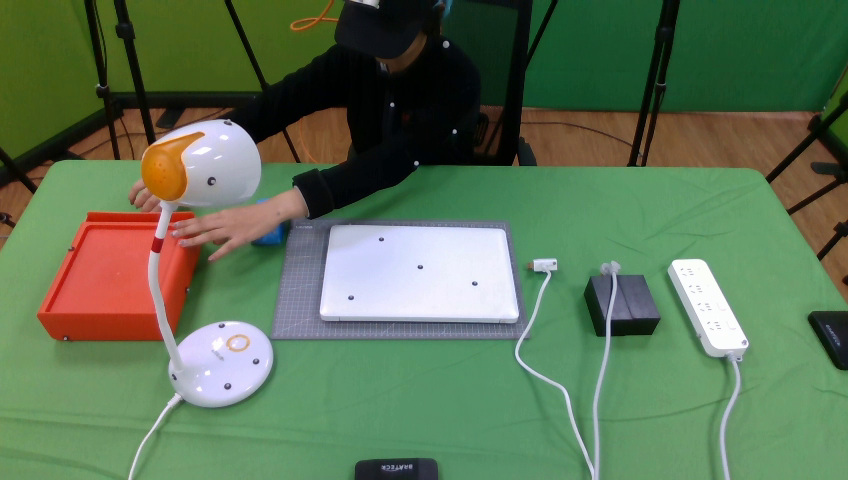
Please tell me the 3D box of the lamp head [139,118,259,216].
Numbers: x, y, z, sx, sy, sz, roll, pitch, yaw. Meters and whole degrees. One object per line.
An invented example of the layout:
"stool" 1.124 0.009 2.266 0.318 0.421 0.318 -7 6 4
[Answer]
"lamp head" -0.282 -0.086 0.734 0.112 0.113 0.123 21 25 16

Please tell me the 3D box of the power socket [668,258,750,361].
"power socket" 0.517 0.118 1.109 0.072 0.033 0.225 -2 46 -4

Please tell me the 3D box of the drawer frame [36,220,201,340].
"drawer frame" -0.518 0.065 1.055 0.202 0.083 0.212 0 47 -5

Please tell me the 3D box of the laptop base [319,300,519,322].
"laptop base" -0.009 0.063 1.137 0.354 0.023 0.234 1 42 -3

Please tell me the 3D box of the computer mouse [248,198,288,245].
"computer mouse" -0.309 -0.040 1.205 0.063 0.041 0.116 4 50 -4

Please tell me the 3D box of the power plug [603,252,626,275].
"power plug" 0.366 0.040 1.131 0.035 0.072 0.052 40 54 -10

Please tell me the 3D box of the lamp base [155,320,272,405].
"lamp base" -0.330 0.149 0.918 0.160 0.181 0.179 26 52 20

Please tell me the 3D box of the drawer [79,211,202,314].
"drawer" -0.520 0.042 1.077 0.195 0.073 0.210 0 46 -5

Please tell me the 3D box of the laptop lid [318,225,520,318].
"laptop lid" -0.009 0.052 1.131 0.357 0.013 0.240 2 43 -2

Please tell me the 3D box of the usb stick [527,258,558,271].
"usb stick" 0.226 0.046 1.158 0.059 0.021 0.027 -3 8 10
